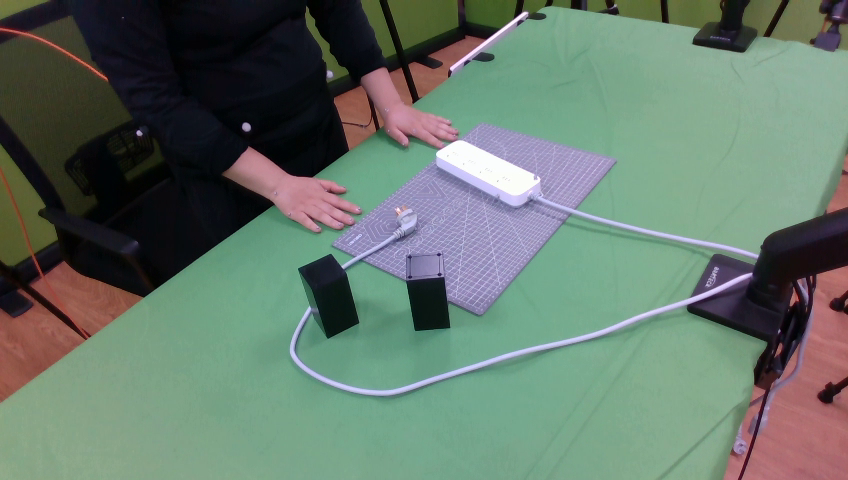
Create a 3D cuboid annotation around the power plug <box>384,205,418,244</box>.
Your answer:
[{"bbox_3d":[-0.043,-0.030,0.991,0.073,0.035,0.052,-20,59,-32],"label":"power plug"}]

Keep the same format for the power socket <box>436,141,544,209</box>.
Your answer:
[{"bbox_3d":[0.111,-0.120,1.082,0.072,0.033,0.224,-34,47,-27],"label":"power socket"}]
